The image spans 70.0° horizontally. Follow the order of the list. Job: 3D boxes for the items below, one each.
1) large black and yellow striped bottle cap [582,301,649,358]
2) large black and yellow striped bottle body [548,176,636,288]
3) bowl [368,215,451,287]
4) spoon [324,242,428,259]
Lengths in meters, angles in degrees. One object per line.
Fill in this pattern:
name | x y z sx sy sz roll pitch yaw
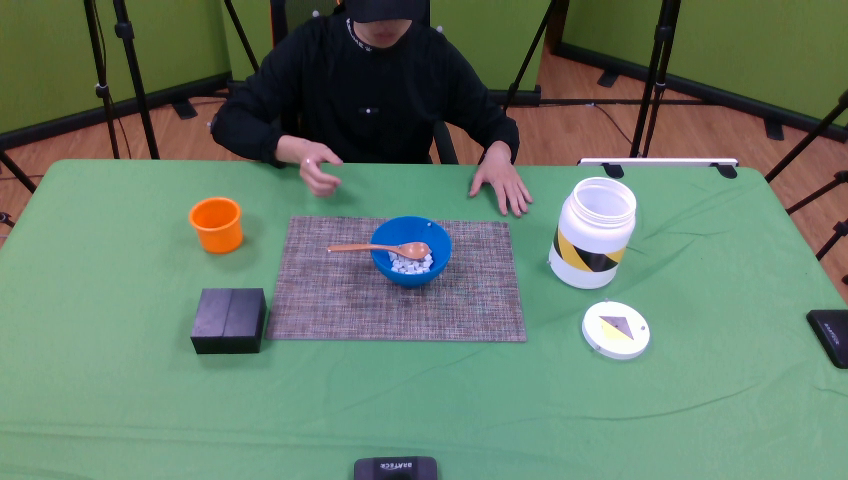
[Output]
large black and yellow striped bottle cap | 0.340 0.157 1.077 0.115 0.019 0.114 1 47 -1
large black and yellow striped bottle body | 0.310 -0.014 1.123 0.131 0.185 0.130 2 46 -2
bowl | -0.028 0.033 1.119 0.151 0.077 0.150 2 46 -2
spoon | -0.083 0.015 1.085 0.194 0.022 0.041 4 46 -26
